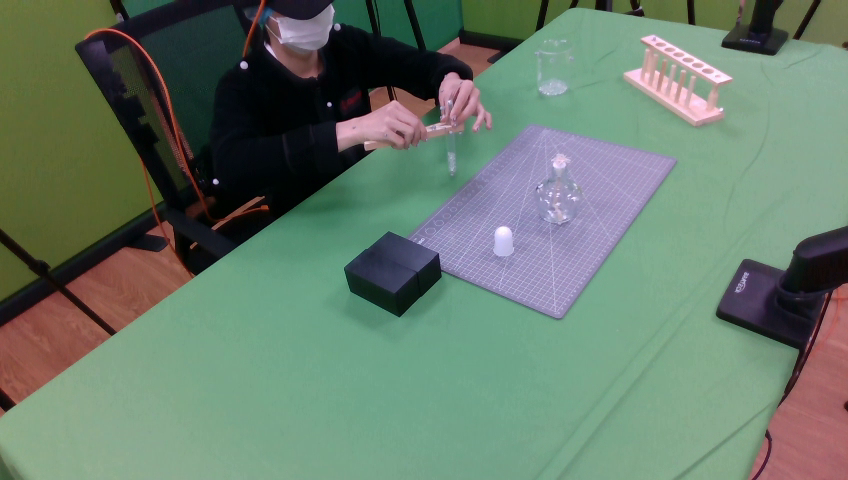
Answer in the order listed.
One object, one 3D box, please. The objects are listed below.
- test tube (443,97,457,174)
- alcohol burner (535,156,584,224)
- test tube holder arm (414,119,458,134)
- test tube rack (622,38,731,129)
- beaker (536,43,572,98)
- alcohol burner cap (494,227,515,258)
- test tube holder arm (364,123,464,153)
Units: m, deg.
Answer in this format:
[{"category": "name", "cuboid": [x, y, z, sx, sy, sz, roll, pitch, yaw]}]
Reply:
[{"category": "test tube", "cuboid": [0.046, -0.178, 1.049, 0.017, 0.151, 0.017, -4, 41, 4]}, {"category": "alcohol burner", "cuboid": [0.217, -0.085, 0.967, 0.078, 0.119, 0.077, -3, 41, 3]}, {"category": "test tube holder arm", "cuboid": [0.022, -0.188, 1.032, 0.088, 0.015, 0.010, -24, 41, -28]}, {"category": "test tube rack", "cuboid": [0.506, -0.325, 1.234, 0.067, 0.085, 0.240, -18, 41, -11]}, {"category": "beaker", "cuboid": [0.280, -0.368, 1.311, 0.074, 0.101, 0.084, 4, 41, 14]}, {"category": "alcohol burner cap", "cuboid": [0.124, 0.001, 0.936, 0.034, 0.048, 0.033, -4, 40, 4]}, {"category": "test tube holder arm", "cuboid": [-0.015, -0.172, 1.011, 0.179, 0.015, 0.013, -16, 38, -19]}]
